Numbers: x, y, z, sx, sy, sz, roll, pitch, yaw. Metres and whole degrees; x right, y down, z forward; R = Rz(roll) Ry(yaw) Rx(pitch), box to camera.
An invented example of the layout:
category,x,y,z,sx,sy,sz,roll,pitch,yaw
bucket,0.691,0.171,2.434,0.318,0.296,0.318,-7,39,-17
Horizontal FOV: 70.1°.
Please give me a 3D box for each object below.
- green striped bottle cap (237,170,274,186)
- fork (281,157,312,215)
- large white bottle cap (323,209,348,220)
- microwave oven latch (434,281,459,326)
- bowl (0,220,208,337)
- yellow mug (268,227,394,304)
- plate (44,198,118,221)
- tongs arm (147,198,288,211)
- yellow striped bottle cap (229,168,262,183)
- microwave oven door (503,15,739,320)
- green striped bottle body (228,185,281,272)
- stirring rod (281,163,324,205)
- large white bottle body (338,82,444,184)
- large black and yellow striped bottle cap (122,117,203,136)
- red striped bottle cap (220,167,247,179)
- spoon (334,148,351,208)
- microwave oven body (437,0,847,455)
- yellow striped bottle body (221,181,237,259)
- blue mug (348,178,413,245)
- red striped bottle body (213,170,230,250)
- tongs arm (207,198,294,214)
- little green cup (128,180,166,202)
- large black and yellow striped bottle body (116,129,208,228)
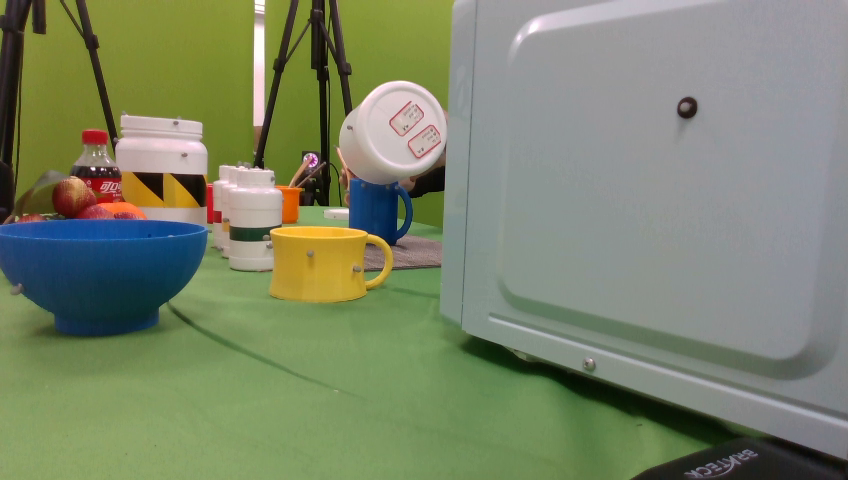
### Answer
category,x,y,z,sx,sy,sz,roll,pitch,yaw
green striped bottle cap,-0.205,-0.075,0.737,0.044,0.020,0.044,1,6,0
fork,-0.290,-0.116,1.321,0.028,0.018,0.207,7,52,18
large white bottle cap,-0.184,-0.062,1.449,0.115,0.018,0.115,2,8,0
microwave oven latch,0.044,0.045,0.470,0.079,0.029,0.030,-3,8,-40
bowl,-0.251,0.029,0.479,0.151,0.077,0.151,2,7,0
yellow mug,-0.094,0.023,0.629,0.131,0.064,0.099,0,7,-22
plate,-0.617,-0.056,1.179,0.209,0.038,0.209,3,7,0
tongs arm,-0.503,-0.090,1.513,0.028,0.028,0.389,-1,3,38
yellow striped bottle cap,-0.240,-0.087,0.816,0.044,0.018,0.044,-3,5,1
microwave oven door,0.218,-0.065,0.600,0.358,0.243,0.039,-4,10,-41
green striped bottle body,-0.208,-0.024,0.745,0.063,0.119,0.063,2,7,0
stirring rod,-0.278,-0.105,1.293,0.176,0.006,0.014,-47,25,-18
large white bottle body,-0.056,-0.151,0.902,0.131,0.130,0.184,0,1,-18
large black and yellow striped bottle cap,-0.399,-0.174,0.927,0.115,0.019,0.115,5,9,-1
red striped bottle cap,-0.281,-0.099,0.901,0.044,0.017,0.044,-1,5,0
spoon,-0.140,-0.111,1.116,0.042,0.021,0.193,17,39,-36
microwave oven body,0.279,-0.040,0.464,0.444,0.260,0.324,-3,9,-41
yellow striped bottle body,-0.244,-0.035,0.823,0.063,0.120,0.063,3,8,0
blue mug,-0.071,-0.047,1.003,0.116,0.106,0.082,6,9,25
red striped bottle body,-0.283,-0.047,0.909,0.063,0.119,0.063,3,13,0
tongs arm,-0.423,-0.084,1.473,0.050,0.026,0.386,1,6,22
little green cup,-0.485,-0.087,1.062,0.061,0.038,0.061,-1,6,0
large black and yellow striped bottle body,-0.404,-0.089,0.937,0.131,0.184,0.130,3,7,0
